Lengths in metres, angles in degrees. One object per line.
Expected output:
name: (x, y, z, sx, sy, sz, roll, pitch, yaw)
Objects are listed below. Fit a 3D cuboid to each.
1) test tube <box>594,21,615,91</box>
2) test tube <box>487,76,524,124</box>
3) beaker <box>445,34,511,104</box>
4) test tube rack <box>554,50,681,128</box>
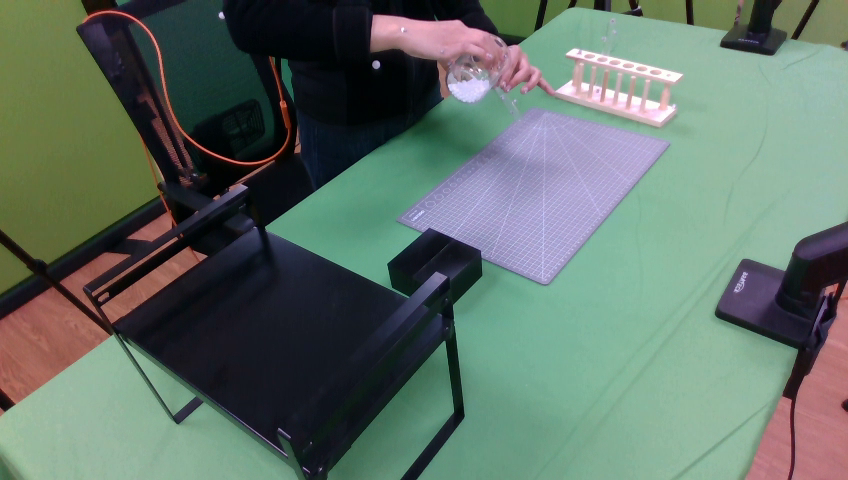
test tube: (0.367, -0.372, 1.232, 0.017, 0.151, 0.017, 0, 43, 0)
test tube: (0.148, -0.247, 1.076, 0.017, 0.152, 0.017, -11, 67, 26)
beaker: (0.084, -0.267, 0.961, 0.073, 0.084, 0.100, 15, 49, 28)
test tube rack: (0.388, -0.311, 1.234, 0.240, 0.085, 0.067, 28, 52, 35)
